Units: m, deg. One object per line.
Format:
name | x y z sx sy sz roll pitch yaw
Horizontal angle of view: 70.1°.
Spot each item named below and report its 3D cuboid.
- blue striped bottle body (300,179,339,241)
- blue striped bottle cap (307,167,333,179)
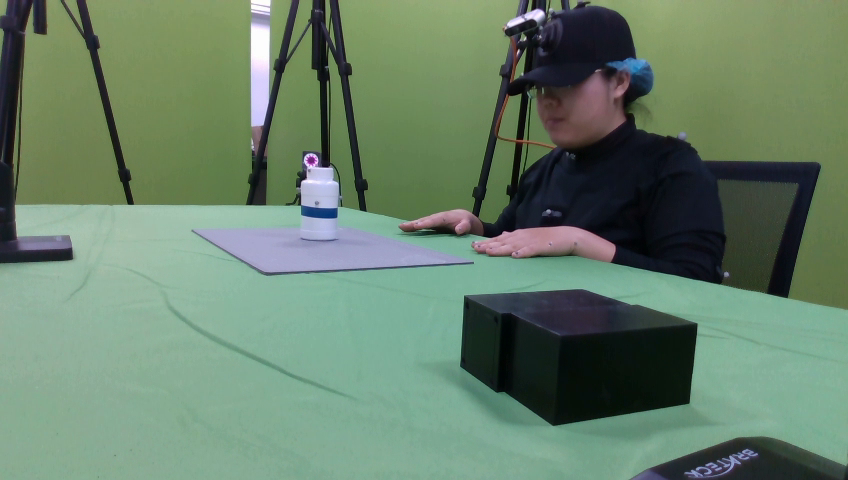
blue striped bottle body | -0.176 -0.062 1.018 0.063 0.120 0.063 3 7 0
blue striped bottle cap | -0.174 -0.112 1.011 0.044 0.020 0.044 2 6 0
